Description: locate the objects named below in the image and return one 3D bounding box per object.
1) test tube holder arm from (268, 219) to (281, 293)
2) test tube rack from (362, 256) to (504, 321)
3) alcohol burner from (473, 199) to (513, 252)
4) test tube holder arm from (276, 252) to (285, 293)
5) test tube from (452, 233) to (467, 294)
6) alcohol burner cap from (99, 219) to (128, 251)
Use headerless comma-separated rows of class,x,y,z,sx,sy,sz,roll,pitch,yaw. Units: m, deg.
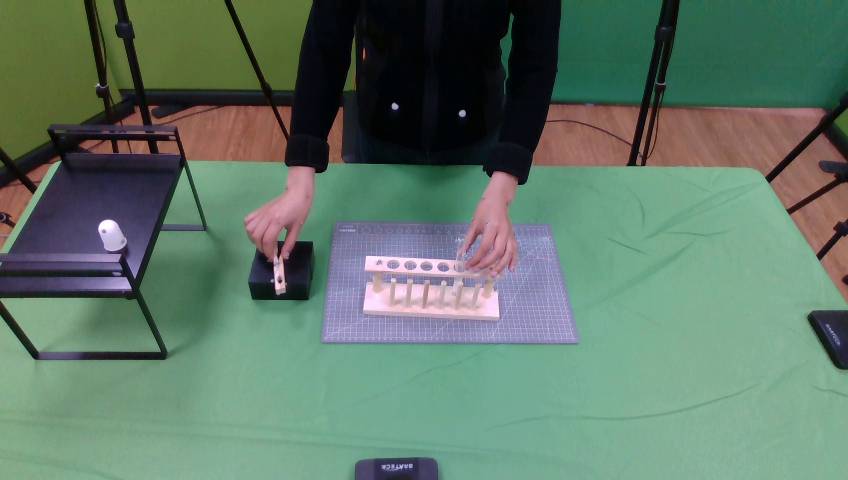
test tube holder arm,-0.269,0.025,1.089,0.013,0.015,0.177,-5,45,-18
test tube rack,0.014,0.086,1.069,0.242,0.085,0.066,3,45,-2
alcohol burner,0.135,-0.034,1.174,0.078,0.120,0.077,1,47,-1
test tube holder arm,-0.252,0.056,1.061,0.010,0.015,0.087,-4,45,-17
test tube,0.060,0.045,1.044,0.017,0.151,0.017,1,47,-1
alcohol burner cap,-0.467,-0.010,0.907,0.034,0.048,0.033,2,47,-2
